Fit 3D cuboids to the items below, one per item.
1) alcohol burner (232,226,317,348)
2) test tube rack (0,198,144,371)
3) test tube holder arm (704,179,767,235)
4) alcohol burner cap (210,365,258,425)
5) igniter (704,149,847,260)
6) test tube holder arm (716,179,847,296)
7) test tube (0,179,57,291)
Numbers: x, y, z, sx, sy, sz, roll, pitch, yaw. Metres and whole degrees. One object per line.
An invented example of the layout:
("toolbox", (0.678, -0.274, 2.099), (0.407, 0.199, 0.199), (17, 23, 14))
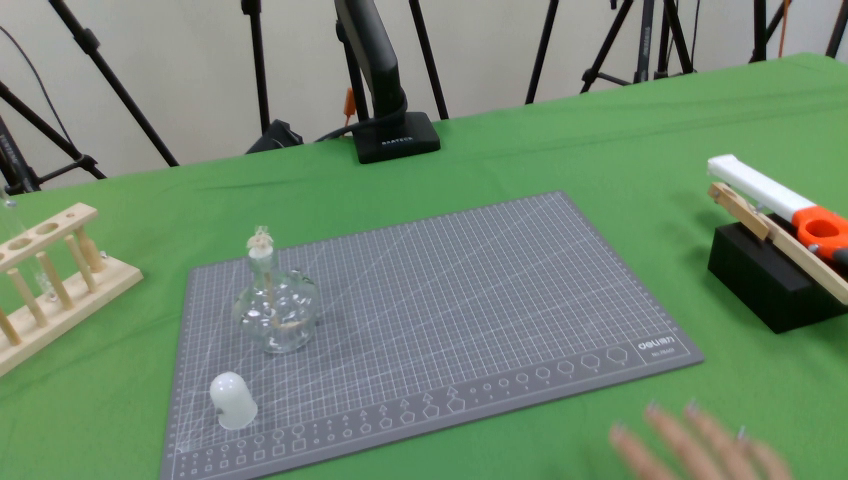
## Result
("alcohol burner", (-0.139, 0.039, 0.551), (0.078, 0.120, 0.077), (-4, 34, 3))
("test tube rack", (-0.411, 0.060, 0.595), (0.066, 0.086, 0.242), (17, 42, 29))
("test tube holder arm", (0.300, -0.033, 0.582), (0.010, 0.015, 0.087), (-7, 35, -12))
("alcohol burner cap", (-0.159, 0.125, 0.499), (0.034, 0.048, 0.033), (-4, 36, 3))
("igniter", (0.354, -0.023, 0.555), (0.057, 0.025, 0.273), (-14, 33, -8))
("test tube holder arm", (0.317, -0.009, 0.547), (0.013, 0.015, 0.176), (-8, 35, -13))
("test tube", (-0.404, -0.010, 0.605), (0.017, 0.151, 0.017), (-5, 34, 4))
